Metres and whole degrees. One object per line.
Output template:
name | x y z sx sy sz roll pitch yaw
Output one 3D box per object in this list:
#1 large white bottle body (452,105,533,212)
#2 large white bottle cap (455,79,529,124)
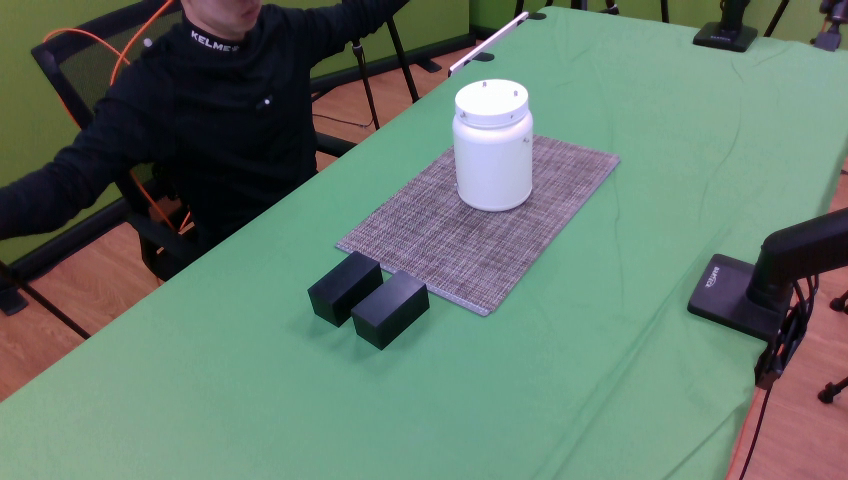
large white bottle body | 0.115 -0.155 1.001 0.130 0.185 0.130 -5 41 4
large white bottle cap | 0.106 -0.218 0.945 0.115 0.018 0.114 -4 41 4
